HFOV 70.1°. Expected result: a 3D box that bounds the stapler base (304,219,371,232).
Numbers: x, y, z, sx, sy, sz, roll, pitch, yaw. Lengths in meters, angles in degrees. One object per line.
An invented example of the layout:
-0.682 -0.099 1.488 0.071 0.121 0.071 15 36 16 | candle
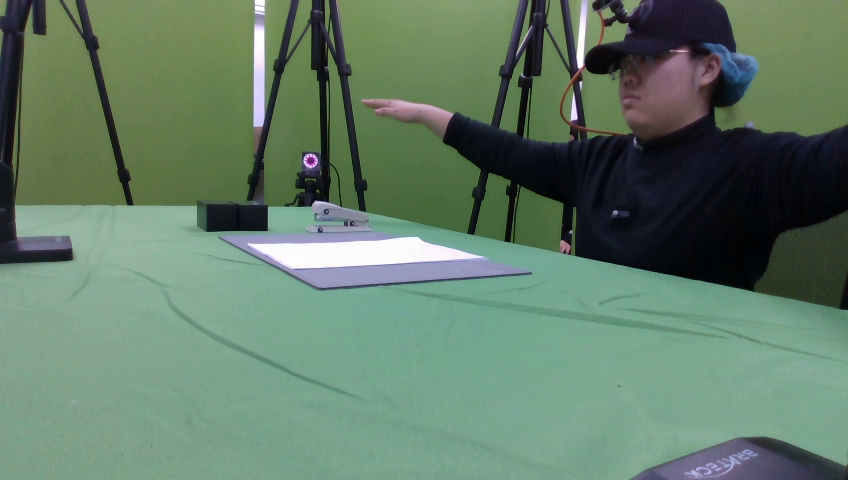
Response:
-0.169 -0.030 1.186 0.131 0.024 0.041 0 9 -33 | stapler base

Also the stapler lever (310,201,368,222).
-0.166 -0.055 1.184 0.119 0.040 0.026 0 9 -33 | stapler lever
